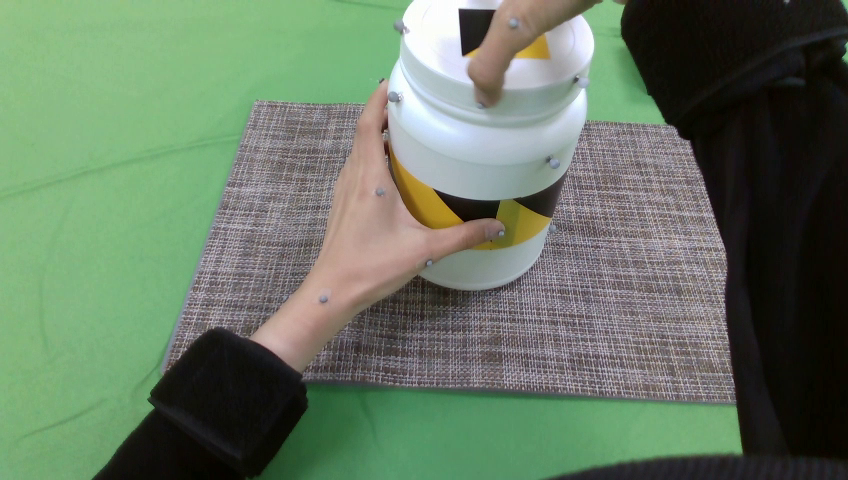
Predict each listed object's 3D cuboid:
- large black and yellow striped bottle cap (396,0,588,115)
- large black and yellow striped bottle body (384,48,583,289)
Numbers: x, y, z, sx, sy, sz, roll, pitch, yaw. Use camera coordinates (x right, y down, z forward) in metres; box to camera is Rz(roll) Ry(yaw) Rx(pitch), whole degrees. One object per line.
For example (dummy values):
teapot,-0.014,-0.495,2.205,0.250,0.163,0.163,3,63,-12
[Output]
large black and yellow striped bottle cap,0.041,-0.120,0.364,0.115,0.019,0.114,3,53,-3
large black and yellow striped bottle body,0.036,-0.066,0.430,0.131,0.185,0.129,2,51,-2
